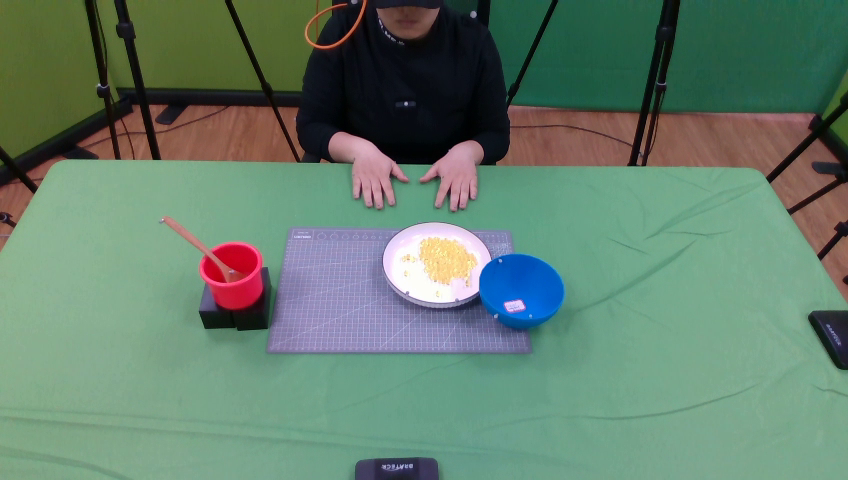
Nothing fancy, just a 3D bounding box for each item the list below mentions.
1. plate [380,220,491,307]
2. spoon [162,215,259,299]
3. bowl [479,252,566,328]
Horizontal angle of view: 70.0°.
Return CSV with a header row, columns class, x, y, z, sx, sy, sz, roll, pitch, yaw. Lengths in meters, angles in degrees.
class,x,y,z,sx,sy,sz,roll,pitch,yaw
plate,0.021,0.048,1.138,0.208,0.039,0.206,2,46,-2
spoon,-0.348,0.027,0.992,0.194,0.021,0.041,48,51,-19
bowl,0.167,0.102,1.067,0.151,0.077,0.150,2,46,-2
